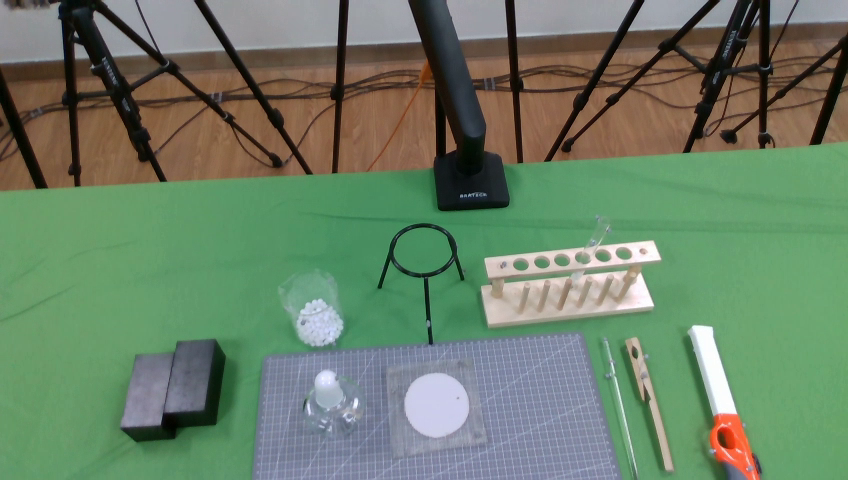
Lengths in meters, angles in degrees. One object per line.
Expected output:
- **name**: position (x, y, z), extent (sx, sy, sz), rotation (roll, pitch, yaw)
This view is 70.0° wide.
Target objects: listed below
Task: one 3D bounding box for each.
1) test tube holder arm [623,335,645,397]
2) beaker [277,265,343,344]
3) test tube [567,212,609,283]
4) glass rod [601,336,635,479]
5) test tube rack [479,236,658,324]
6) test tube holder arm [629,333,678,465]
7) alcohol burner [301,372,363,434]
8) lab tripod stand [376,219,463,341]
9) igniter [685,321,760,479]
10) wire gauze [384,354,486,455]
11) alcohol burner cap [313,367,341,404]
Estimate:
- **test tube holder arm**: position (0.289, 0.171, 0.824), extent (0.010, 0.015, 0.087), rotation (-28, 48, 27)
- **beaker**: position (-0.154, 0.092, 0.832), extent (0.084, 0.101, 0.073), rotation (11, 54, 9)
- **test tube**: position (0.222, 0.014, 0.834), extent (0.017, 0.151, 0.017), rotation (3, 53, -4)
- **glass rod**: position (0.254, 0.218, 0.795), extent (0.008, 0.008, 0.198), rotation (-1, 57, -1)
- **test tube rack**: position (0.205, 0.058, 0.864), extent (0.242, 0.086, 0.066), rotation (-6, 54, -4)
- **test tube holder arm**: position (0.298, 0.204, 0.794), extent (0.013, 0.015, 0.176), rotation (-29, 48, 25)
- **alcohol burner**: position (-0.116, 0.192, 0.745), extent (0.078, 0.120, 0.077), rotation (-1, 52, 2)
- **lab tripod stand**: position (-0.006, 0.046, 0.842), extent (0.148, 0.133, 0.147), rotation (-1, 53, 2)
- **igniter**: position (0.383, 0.228, 0.774), extent (0.057, 0.025, 0.274), rotation (6, 53, -8)
- **wire gauze**: position (0.012, 0.212, 0.797), extent (0.121, 0.011, 0.124), rotation (-6, 57, -5)
- **alcohol burner cap**: position (-0.116, 0.169, 0.717), extent (0.034, 0.048, 0.033), rotation (1, 44, -1)
